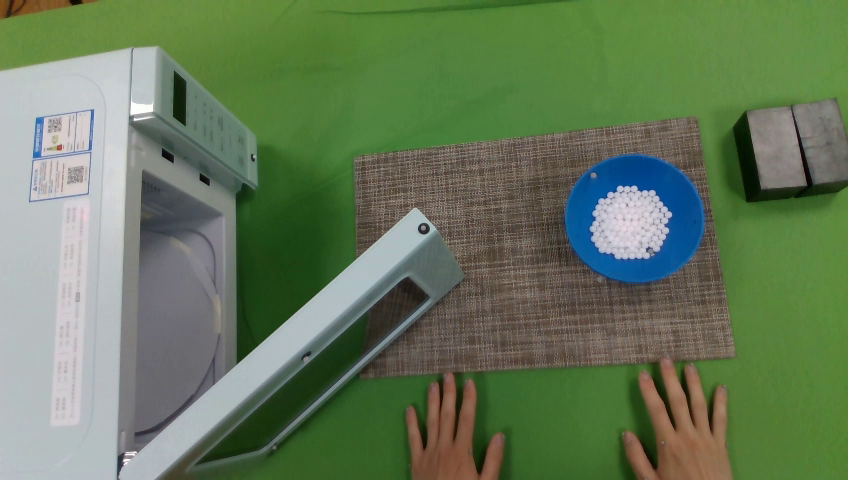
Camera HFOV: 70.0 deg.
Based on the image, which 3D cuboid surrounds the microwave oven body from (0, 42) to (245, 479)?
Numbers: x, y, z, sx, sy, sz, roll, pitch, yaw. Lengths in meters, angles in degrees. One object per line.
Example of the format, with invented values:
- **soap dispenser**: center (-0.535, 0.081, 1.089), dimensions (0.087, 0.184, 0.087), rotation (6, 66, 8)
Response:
- **microwave oven body**: center (-0.397, 0.050, 0.710), dimensions (0.326, 0.261, 0.439), rotation (-7, 78, 7)

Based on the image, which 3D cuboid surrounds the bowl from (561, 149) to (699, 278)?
- **bowl**: center (0.236, -0.023, 0.716), dimensions (0.151, 0.077, 0.150), rotation (-2, 78, 9)

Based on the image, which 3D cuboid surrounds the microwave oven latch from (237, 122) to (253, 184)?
- **microwave oven latch**: center (-0.250, -0.118, 0.822), dimensions (0.030, 0.029, 0.079), rotation (-7, 78, 7)

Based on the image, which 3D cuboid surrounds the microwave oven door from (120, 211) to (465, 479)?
- **microwave oven door**: center (-0.111, 0.122, 0.643), dimensions (0.356, 0.245, 0.039), rotation (-42, 74, -1)
